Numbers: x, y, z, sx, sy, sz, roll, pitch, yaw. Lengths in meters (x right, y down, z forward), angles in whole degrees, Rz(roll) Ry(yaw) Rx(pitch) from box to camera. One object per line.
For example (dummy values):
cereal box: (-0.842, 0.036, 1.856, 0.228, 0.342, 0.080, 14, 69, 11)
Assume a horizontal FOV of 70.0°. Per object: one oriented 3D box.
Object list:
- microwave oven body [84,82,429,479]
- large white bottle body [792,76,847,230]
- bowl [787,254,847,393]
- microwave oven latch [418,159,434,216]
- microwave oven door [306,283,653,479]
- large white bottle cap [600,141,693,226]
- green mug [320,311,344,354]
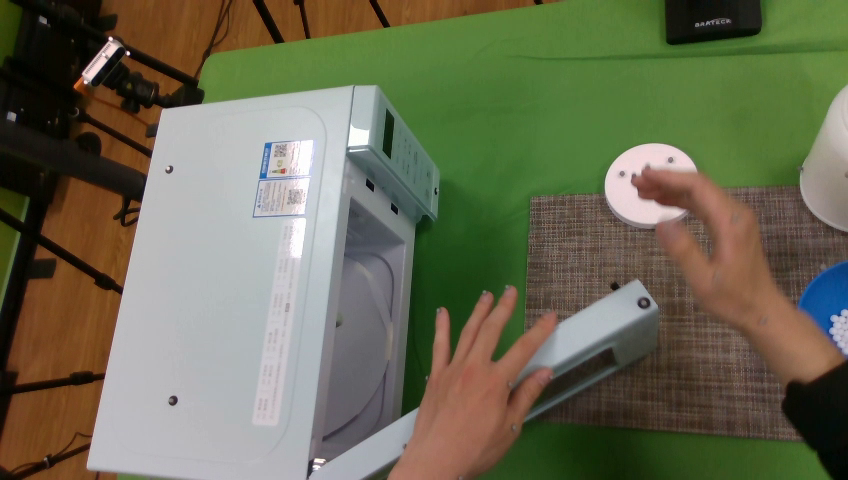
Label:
microwave oven body: (-0.185, 0.069, 0.776, 0.325, 0.262, 0.439, -2, 73, 18)
large white bottle body: (0.478, -0.102, 0.636, 0.130, 0.186, 0.129, -7, 67, 17)
bowl: (0.462, 0.095, 0.638, 0.151, 0.077, 0.150, -6, 71, 19)
microwave oven latch: (-0.002, -0.076, 0.865, 0.030, 0.030, 0.078, -3, 73, 18)
microwave oven door: (0.078, 0.172, 0.644, 0.356, 0.246, 0.039, -33, 64, 7)
large white bottle cap: (0.288, -0.074, 0.788, 0.114, 0.018, 0.114, -6, 70, 17)
green mug: (-0.166, 0.115, 0.778, 0.125, 0.105, 0.092, -15, 72, 7)
